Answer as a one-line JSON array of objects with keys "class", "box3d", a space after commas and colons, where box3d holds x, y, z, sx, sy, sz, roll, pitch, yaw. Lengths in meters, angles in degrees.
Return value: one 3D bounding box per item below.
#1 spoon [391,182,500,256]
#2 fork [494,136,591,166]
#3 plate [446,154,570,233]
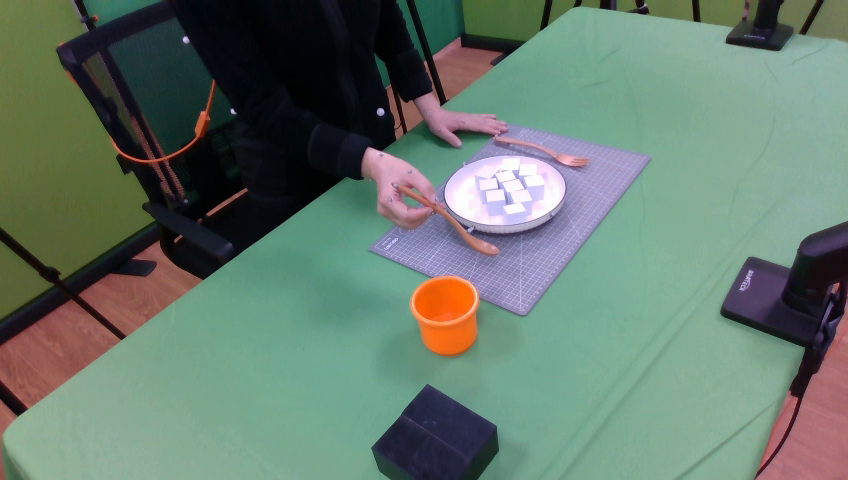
[{"class": "spoon", "box3d": [0.032, -0.029, 0.854, 0.021, 0.195, 0.041, -47, 24, 15]}, {"class": "fork", "box3d": [0.219, -0.171, 1.144, 0.205, 0.019, 0.028, 24, 56, 31]}, {"class": "plate", "box3d": [0.142, -0.076, 1.033, 0.207, 0.039, 0.206, -5, 40, 5]}]
